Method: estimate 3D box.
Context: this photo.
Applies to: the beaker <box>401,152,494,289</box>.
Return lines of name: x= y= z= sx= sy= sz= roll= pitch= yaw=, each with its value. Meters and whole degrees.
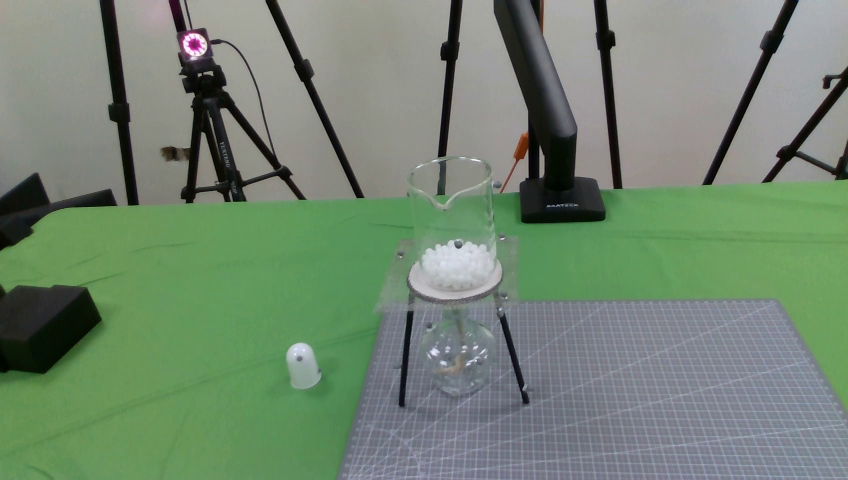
beaker: x=0.023 y=-0.014 z=0.522 sx=0.074 sy=0.101 sz=0.083 roll=-2 pitch=32 yaw=11

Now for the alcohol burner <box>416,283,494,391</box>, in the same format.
alcohol burner: x=0.030 y=0.089 z=0.592 sx=0.078 sy=0.120 sz=0.077 roll=-3 pitch=33 yaw=2

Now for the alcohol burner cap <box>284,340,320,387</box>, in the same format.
alcohol burner cap: x=-0.129 y=0.126 z=0.634 sx=0.034 sy=0.048 sz=0.033 roll=-4 pitch=33 yaw=3

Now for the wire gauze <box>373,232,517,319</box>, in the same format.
wire gauze: x=0.023 y=0.027 z=0.549 sx=0.121 sy=0.011 sz=0.124 roll=-3 pitch=33 yaw=10

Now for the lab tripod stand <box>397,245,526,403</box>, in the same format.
lab tripod stand: x=0.030 y=0.080 z=0.588 sx=0.148 sy=0.132 sz=0.147 roll=-6 pitch=30 yaw=4
